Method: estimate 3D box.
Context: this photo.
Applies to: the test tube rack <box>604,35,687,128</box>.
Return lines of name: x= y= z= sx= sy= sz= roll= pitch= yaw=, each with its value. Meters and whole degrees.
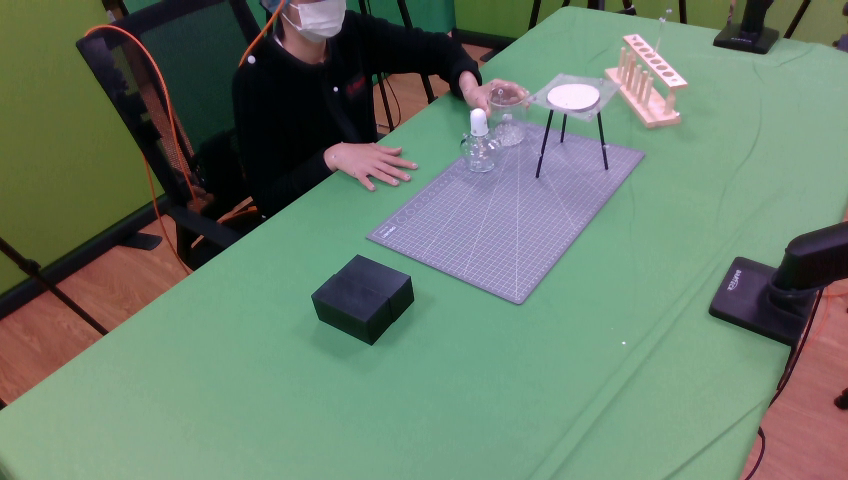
test tube rack: x=0.447 y=-0.330 z=1.241 sx=0.067 sy=0.085 sz=0.241 roll=-9 pitch=41 yaw=-2

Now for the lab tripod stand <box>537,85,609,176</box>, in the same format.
lab tripod stand: x=0.259 y=-0.192 z=1.068 sx=0.148 sy=0.132 sz=0.147 roll=-4 pitch=43 yaw=4

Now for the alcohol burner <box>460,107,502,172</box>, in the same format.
alcohol burner: x=0.102 y=-0.185 z=1.098 sx=0.078 sy=0.119 sz=0.077 roll=-6 pitch=40 yaw=5

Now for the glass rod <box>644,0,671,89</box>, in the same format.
glass rod: x=0.463 y=-0.387 z=1.204 sx=0.008 sy=0.200 sz=0.008 roll=0 pitch=47 yaw=1

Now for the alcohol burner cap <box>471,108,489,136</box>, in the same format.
alcohol burner cap: x=0.098 y=-0.211 z=1.074 sx=0.034 sy=0.048 sz=0.033 roll=-6 pitch=42 yaw=6

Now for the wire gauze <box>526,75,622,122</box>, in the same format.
wire gauze: x=0.255 y=-0.248 z=1.030 sx=0.124 sy=0.011 sz=0.122 roll=24 pitch=51 yaw=32

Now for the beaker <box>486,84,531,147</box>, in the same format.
beaker: x=0.163 y=-0.237 z=1.157 sx=0.084 sy=0.101 sz=0.073 roll=-11 pitch=46 yaw=-1
